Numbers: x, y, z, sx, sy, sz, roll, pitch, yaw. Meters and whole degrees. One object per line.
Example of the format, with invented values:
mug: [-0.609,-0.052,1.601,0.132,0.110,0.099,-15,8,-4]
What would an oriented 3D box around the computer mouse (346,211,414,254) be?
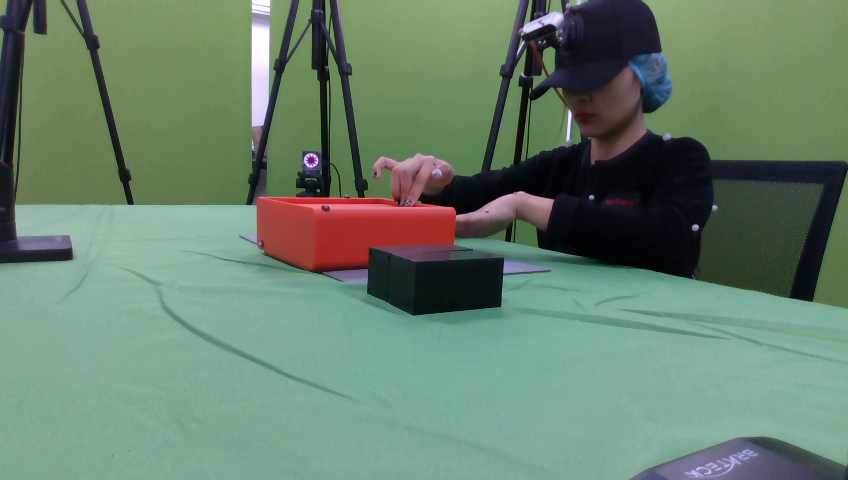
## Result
computer mouse: [-0.063,-0.013,0.852,0.063,0.041,0.116,-1,22,-31]

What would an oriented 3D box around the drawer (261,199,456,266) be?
drawer: [-0.094,-0.016,0.844,0.213,0.073,0.193,-4,10,-34]

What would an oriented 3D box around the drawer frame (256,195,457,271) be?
drawer frame: [-0.097,-0.017,0.843,0.215,0.082,0.200,-4,10,-35]
